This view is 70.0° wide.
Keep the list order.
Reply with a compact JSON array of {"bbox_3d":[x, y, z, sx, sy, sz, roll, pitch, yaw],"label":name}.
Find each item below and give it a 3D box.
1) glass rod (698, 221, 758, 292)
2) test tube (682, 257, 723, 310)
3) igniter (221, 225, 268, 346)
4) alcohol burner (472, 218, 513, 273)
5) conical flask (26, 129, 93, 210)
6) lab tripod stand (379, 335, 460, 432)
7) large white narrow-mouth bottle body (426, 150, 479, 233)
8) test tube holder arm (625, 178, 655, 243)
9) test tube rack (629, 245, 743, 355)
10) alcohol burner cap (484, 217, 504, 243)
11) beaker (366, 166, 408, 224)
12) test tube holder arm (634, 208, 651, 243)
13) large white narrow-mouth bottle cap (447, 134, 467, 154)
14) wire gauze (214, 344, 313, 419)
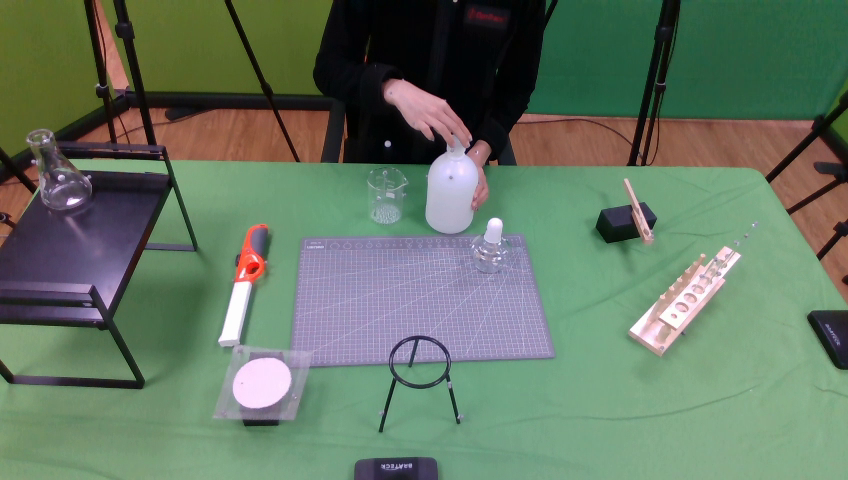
[{"bbox_3d":[0.527,0.035,1.060,0.008,0.200,0.008,5,49,-6],"label":"glass rod"},{"bbox_3d":[0.475,0.080,1.037,0.017,0.151,0.017,1,50,-1],"label":"test tube"},{"bbox_3d":[-0.323,0.072,1.100,0.057,0.025,0.274,-6,45,5],"label":"igniter"},{"bbox_3d":[0.128,0.005,1.132,0.078,0.120,0.077,0,47,0],"label":"alcohol burner"},{"bbox_3d":[-0.575,-0.113,0.946,0.075,0.122,0.075,2,46,-2],"label":"conical flask"},{"bbox_3d":[-0.011,0.214,0.911,0.148,0.132,0.147,1,45,0],"label":"lab tripod stand"},{"bbox_3d":[0.058,-0.111,1.187,0.102,0.195,0.101,2,46,-2],"label":"large white narrow-mouth bottle body"},{"bbox_3d":[0.433,-0.062,1.220,0.013,0.015,0.177,1,47,-3],"label":"test tube holder arm"},{"bbox_3d":[0.474,0.095,1.091,0.242,0.085,0.066,-34,56,-31],"label":"test tube rack"},{"bbox_3d":[0.130,-0.021,1.107,0.034,0.048,0.033,4,41,-3],"label":"alcohol burner cap"},{"bbox_3d":[-0.074,-0.088,1.222,0.084,0.101,0.073,4,46,-1],"label":"beaker"},{"bbox_3d":[0.428,-0.030,1.189,0.010,0.015,0.087,1,47,-2],"label":"test tube holder arm"},{"bbox_3d":[0.062,-0.177,1.116,0.038,0.024,0.037,2,46,-2],"label":"large white narrow-mouth bottle cap"},{"bbox_3d":[-0.241,0.213,0.915,0.121,0.011,0.124,5,46,1],"label":"wire gauze"}]
